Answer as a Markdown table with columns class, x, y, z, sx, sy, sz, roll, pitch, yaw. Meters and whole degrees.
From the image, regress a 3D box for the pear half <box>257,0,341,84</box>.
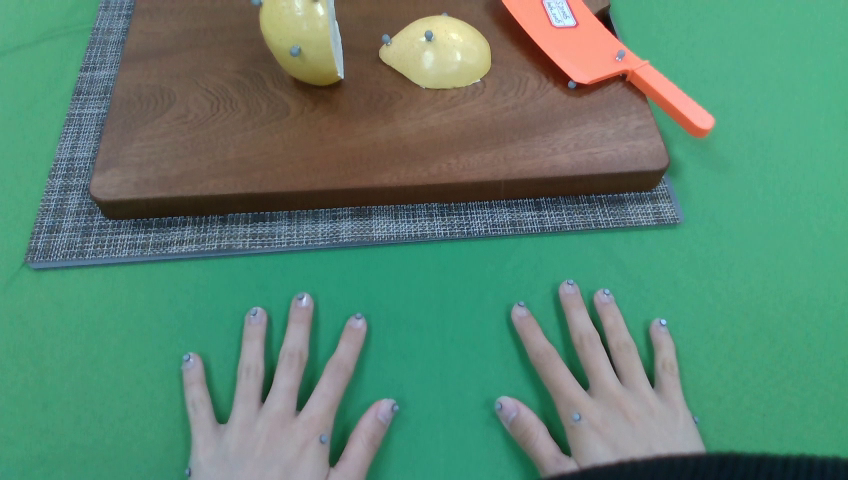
| class | x | y | z | sx | sy | sz | roll | pitch | yaw |
| --- | --- | --- | --- | --- | --- | --- | --- | --- | --- |
| pear half | -0.090 | -0.164 | 0.422 | 0.056 | 0.111 | 0.075 | -9 | 55 | -7 |

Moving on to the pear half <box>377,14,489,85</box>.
| class | x | y | z | sx | sy | sz | roll | pitch | yaw |
| --- | --- | --- | --- | --- | --- | --- | --- | --- | --- |
| pear half | 0.008 | -0.154 | 0.469 | 0.088 | 0.031 | 0.070 | 3 | 52 | -4 |

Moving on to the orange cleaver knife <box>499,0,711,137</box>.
| class | x | y | z | sx | sy | sz | roll | pitch | yaw |
| --- | --- | --- | --- | --- | --- | --- | --- | --- | --- |
| orange cleaver knife | 0.133 | -0.150 | 0.478 | 0.077 | 0.012 | 0.209 | -27 | 66 | -23 |
